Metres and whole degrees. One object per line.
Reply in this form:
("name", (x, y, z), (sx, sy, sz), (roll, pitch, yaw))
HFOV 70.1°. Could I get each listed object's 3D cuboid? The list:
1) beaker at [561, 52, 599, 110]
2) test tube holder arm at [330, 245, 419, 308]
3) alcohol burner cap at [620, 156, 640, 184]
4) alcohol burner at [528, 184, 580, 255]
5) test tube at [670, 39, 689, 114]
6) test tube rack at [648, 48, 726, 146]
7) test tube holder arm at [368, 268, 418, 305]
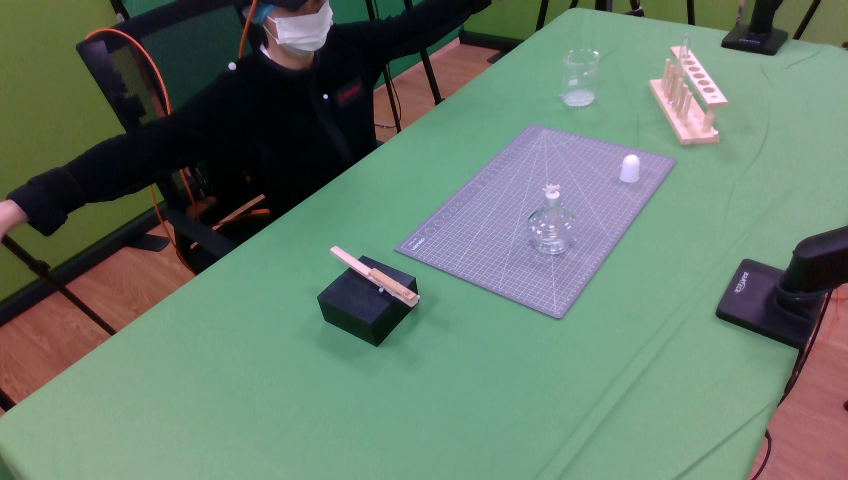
("beaker", (0.325, -0.331, 1.260), (0.084, 0.101, 0.073), (-20, 42, -15))
("test tube holder arm", (-0.074, 0.049, 0.857), (0.015, 0.013, 0.177), (-37, 48, -29))
("alcohol burner cap", (0.358, -0.124, 1.047), (0.034, 0.048, 0.033), (-4, 40, 4))
("alcohol burner", (0.196, -0.035, 0.911), (0.078, 0.119, 0.077), (-6, 41, 5))
("test tube", (0.484, -0.308, 1.146), (0.017, 0.151, 0.017), (-5, 41, 5))
("test tube rack", (0.509, -0.285, 1.186), (0.067, 0.085, 0.241), (-4, 40, 6))
("test tube holder arm", (-0.043, 0.063, 0.827), (0.015, 0.010, 0.087), (-36, 47, -29))
